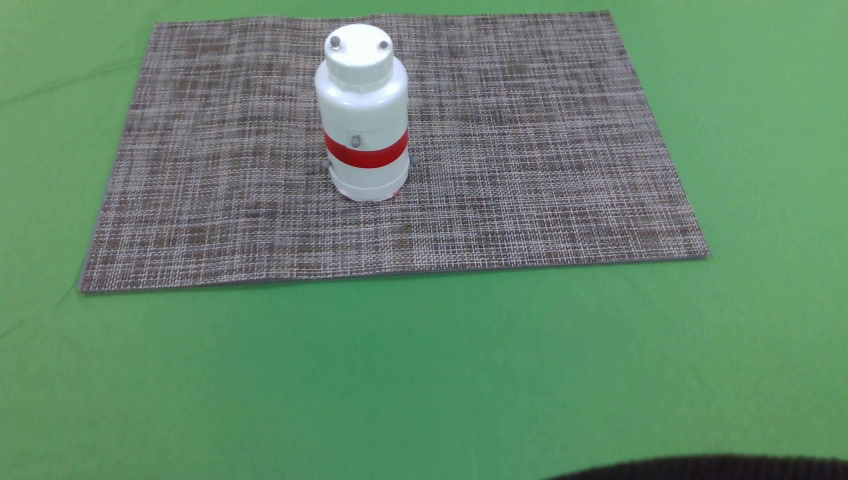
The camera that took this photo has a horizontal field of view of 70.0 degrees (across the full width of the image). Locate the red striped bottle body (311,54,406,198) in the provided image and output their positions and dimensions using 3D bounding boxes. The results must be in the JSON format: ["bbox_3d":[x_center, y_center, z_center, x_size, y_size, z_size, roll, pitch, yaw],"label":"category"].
[{"bbox_3d":[-0.045,-0.090,0.434,0.063,0.120,0.062,1,56,-1],"label":"red striped bottle body"}]

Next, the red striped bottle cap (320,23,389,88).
[{"bbox_3d":[-0.045,-0.120,0.391,0.044,0.018,0.044,1,58,-2],"label":"red striped bottle cap"}]
